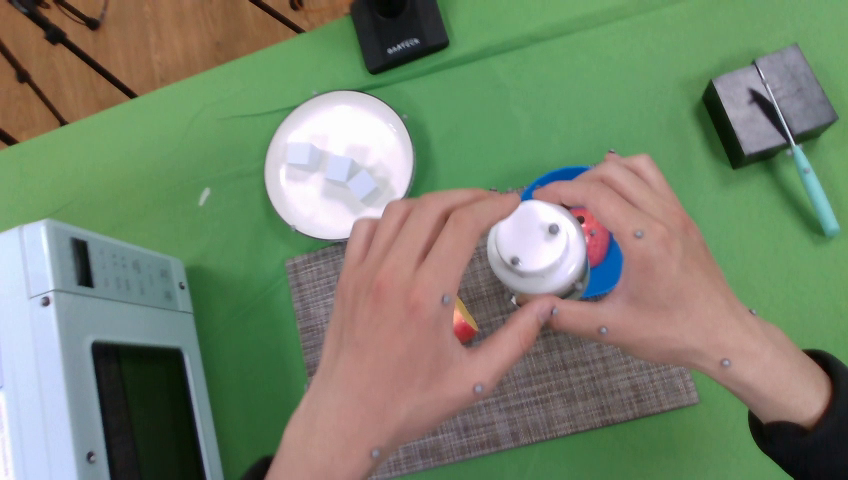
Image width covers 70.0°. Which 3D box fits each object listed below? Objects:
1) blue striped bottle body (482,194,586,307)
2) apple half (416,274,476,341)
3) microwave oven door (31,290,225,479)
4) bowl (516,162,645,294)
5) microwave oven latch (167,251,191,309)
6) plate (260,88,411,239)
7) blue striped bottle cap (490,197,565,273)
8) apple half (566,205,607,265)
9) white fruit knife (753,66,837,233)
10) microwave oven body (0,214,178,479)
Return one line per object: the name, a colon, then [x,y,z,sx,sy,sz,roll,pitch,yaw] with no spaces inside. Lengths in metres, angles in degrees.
blue striped bottle body: [0.077,0.008,0.413,0.063,0.122,0.063,-4,76,16]
apple half: [0.020,0.087,0.723,0.053,0.075,0.080,-37,77,7]
microwave oven door: [-0.300,0.238,0.657,0.039,0.245,0.353,-19,75,8]
bowl: [0.174,-0.007,0.707,0.151,0.077,0.150,-2,78,12]
microwave oven latch: [-0.336,0.056,0.807,0.030,0.029,0.078,-18,76,7]
plate: [-0.115,-0.100,0.811,0.207,0.039,0.206,-2,79,11]
blue striped bottle cap: [0.062,-0.003,0.365,0.044,0.021,0.044,-3,78,14]
apple half: [0.175,-0.007,0.702,0.081,0.033,0.081,-3,77,12]
white fruit knife: [0.411,-0.100,0.675,0.016,0.027,0.207,-26,91,24]
microwave oven body: [-0.448,0.245,0.691,0.326,0.261,0.439,-18,76,7]
